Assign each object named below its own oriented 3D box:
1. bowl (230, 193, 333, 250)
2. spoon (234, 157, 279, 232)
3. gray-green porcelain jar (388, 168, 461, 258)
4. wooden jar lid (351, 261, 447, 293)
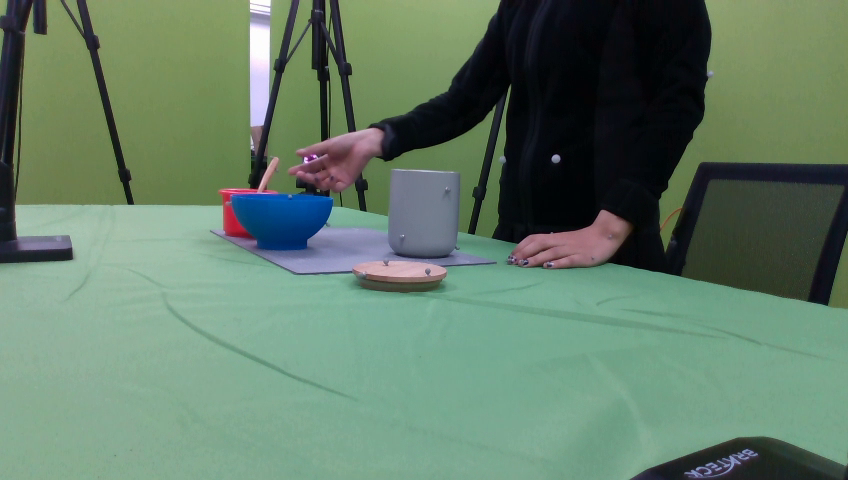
[{"bbox_3d":[-0.214,-0.028,0.912,0.151,0.077,0.151,2,8,0],"label":"bowl"},{"bbox_3d":[-0.287,-0.084,1.066,0.041,0.021,0.193,8,52,5],"label":"spoon"},{"bbox_3d":[0.000,-0.041,0.897,0.106,0.126,0.106,2,7,0],"label":"gray-green porcelain jar"},{"bbox_3d":[-0.028,0.042,0.687,0.108,0.020,0.108,3,8,0],"label":"wooden jar lid"}]
